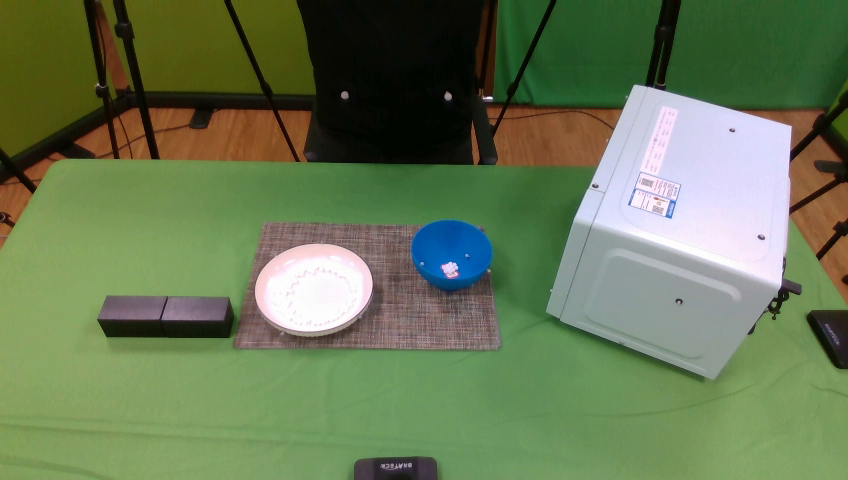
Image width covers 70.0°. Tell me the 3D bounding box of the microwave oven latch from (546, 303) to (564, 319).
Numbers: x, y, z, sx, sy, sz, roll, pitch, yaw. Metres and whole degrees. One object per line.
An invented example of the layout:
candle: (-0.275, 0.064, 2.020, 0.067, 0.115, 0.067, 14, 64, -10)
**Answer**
microwave oven latch: (0.242, 0.102, 1.081, 0.030, 0.029, 0.079, 22, 48, 17)

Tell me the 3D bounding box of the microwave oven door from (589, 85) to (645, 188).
microwave oven door: (0.342, -0.107, 1.149, 0.039, 0.245, 0.354, 21, 48, 15)

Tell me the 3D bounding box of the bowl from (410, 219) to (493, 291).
bowl: (0.048, 0.041, 1.117, 0.151, 0.077, 0.150, 2, 46, -2)

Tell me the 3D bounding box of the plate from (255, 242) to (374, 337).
plate: (-0.192, 0.090, 1.080, 0.208, 0.039, 0.206, 2, 46, -2)

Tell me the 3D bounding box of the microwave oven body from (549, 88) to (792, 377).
microwave oven body: (0.456, -0.028, 1.088, 0.325, 0.261, 0.440, 20, 47, 16)
